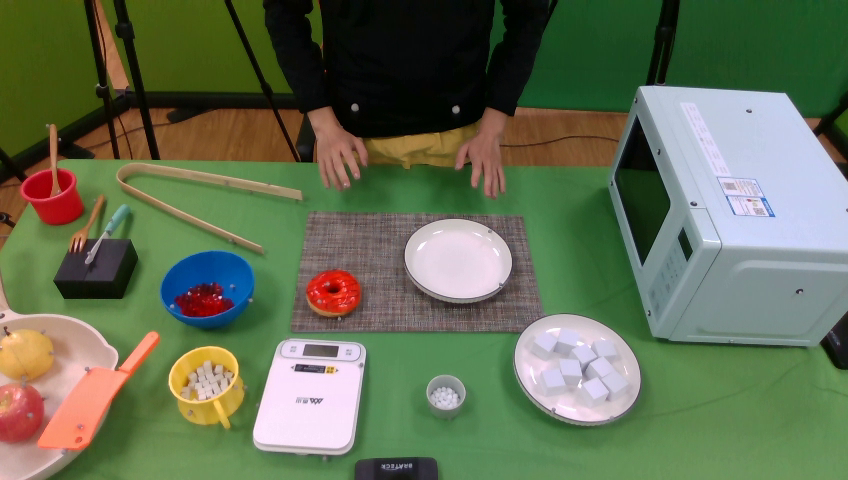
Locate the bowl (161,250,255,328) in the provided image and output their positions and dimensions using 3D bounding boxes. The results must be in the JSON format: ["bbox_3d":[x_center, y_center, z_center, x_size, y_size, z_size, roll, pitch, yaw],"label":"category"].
[{"bbox_3d":[-0.362,0.098,1.040,0.151,0.077,0.150,2,45,-2],"label":"bowl"}]

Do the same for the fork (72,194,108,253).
[{"bbox_3d":[-0.634,-0.036,1.158,0.028,0.019,0.206,-8,32,-8],"label":"fork"}]

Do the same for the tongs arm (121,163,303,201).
[{"bbox_3d":[-0.444,-0.114,1.266,0.384,0.026,0.050,12,51,8],"label":"tongs arm"}]

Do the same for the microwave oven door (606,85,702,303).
[{"bbox_3d":[0.423,-0.094,1.140,0.039,0.245,0.353,2,46,-1],"label":"microwave oven door"}]

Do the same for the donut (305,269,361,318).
[{"bbox_3d":[-0.160,0.094,1.075,0.099,0.048,0.098,3,45,-3],"label":"donut"}]

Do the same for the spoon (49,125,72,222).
[{"bbox_3d":[-0.718,-0.131,1.189,0.041,0.021,0.193,-4,90,-6],"label":"spoon"}]

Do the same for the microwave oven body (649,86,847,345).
[{"bbox_3d":[0.567,-0.053,1.118,0.326,0.261,0.439,2,45,-1],"label":"microwave oven body"}]

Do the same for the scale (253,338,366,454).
[{"bbox_3d":[-0.175,0.236,0.951,0.149,0.032,0.199,4,45,-1],"label":"scale"}]

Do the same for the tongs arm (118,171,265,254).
[{"bbox_3d":[-0.473,-0.055,1.211,0.386,0.028,0.028,23,56,17],"label":"tongs arm"}]

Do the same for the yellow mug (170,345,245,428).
[{"bbox_3d":[-0.322,0.230,0.922,0.100,0.064,0.130,-24,53,-25],"label":"yellow mug"}]

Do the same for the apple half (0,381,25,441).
[{"bbox_3d":[-0.605,0.250,0.871,0.053,0.075,0.080,-9,51,-7],"label":"apple half"}]

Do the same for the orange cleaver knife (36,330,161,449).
[{"bbox_3d":[-0.466,0.210,0.880,0.077,0.012,0.210,15,46,9],"label":"orange cleaver knife"}]

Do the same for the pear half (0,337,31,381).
[{"bbox_3d":[-0.632,0.185,0.920,0.070,0.088,0.031,29,49,20],"label":"pear half"}]

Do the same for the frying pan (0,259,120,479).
[{"bbox_3d":[-0.647,0.164,0.936,0.307,0.103,0.485,-19,58,-22],"label":"frying pan"}]

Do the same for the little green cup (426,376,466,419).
[{"bbox_3d":[0.033,0.248,0.950,0.061,0.039,0.061,2,46,-2],"label":"little green cup"}]

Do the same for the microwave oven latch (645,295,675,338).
[{"bbox_3d":[0.411,0.134,1.061,0.030,0.029,0.078,3,45,0],"label":"microwave oven latch"}]

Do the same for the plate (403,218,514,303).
[{"bbox_3d":[0.064,0.042,1.146,0.209,0.038,0.208,2,46,-2],"label":"plate"}]

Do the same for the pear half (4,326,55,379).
[{"bbox_3d":[-0.609,0.159,0.934,0.076,0.110,0.056,32,52,20],"label":"pear half"}]

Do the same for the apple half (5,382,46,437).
[{"bbox_3d":[-0.567,0.244,0.877,0.033,0.082,0.080,-9,47,-7],"label":"apple half"}]

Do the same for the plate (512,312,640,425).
[{"bbox_3d":[0.246,0.213,0.999,0.208,0.039,0.206,2,46,-2],"label":"plate"}]

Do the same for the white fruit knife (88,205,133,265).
[{"bbox_3d":[-0.584,-0.013,1.129,0.016,0.027,0.206,-1,32,-5],"label":"white fruit knife"}]
